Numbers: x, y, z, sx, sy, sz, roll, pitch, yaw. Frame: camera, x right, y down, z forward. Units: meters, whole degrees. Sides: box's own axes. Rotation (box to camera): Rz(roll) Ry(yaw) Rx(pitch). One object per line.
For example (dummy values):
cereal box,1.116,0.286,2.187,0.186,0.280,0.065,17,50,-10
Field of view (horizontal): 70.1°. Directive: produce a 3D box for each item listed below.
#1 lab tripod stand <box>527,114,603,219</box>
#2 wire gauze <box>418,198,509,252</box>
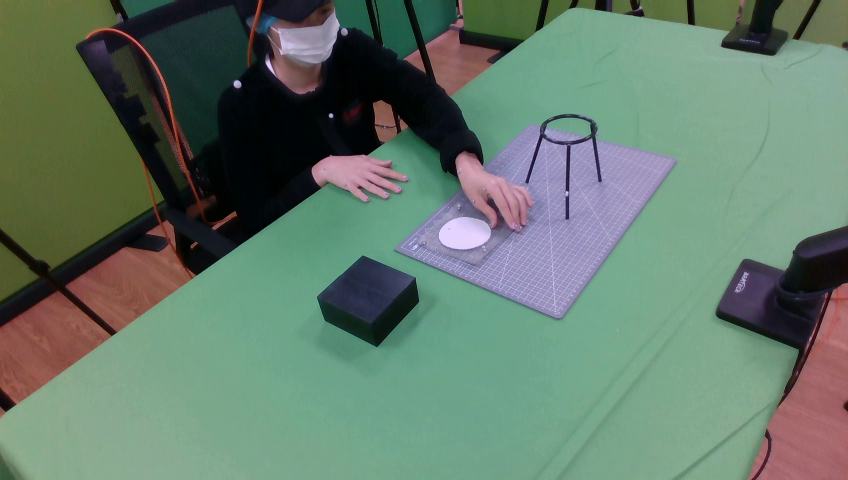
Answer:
lab tripod stand,0.234,-0.129,1.002,0.148,0.132,0.147,-6,40,6
wire gauze,0.065,-0.028,0.983,0.124,0.011,0.121,3,43,22
